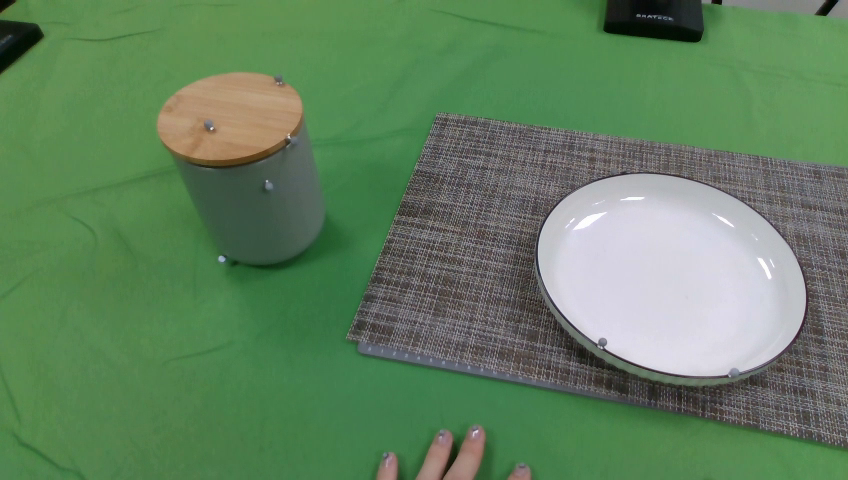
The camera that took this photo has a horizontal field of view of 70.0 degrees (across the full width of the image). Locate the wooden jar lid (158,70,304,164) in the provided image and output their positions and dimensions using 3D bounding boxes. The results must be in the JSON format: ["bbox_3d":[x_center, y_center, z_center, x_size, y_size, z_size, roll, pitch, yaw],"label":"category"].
[{"bbox_3d":[-0.147,-0.093,0.468,0.108,0.021,0.107,2,49,-2],"label":"wooden jar lid"}]

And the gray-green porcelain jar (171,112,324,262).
[{"bbox_3d":[-0.144,-0.051,0.518,0.106,0.127,0.105,-1,50,1],"label":"gray-green porcelain jar"}]

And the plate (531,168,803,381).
[{"bbox_3d":[0.191,0.025,0.496,0.208,0.039,0.205,-1,50,1],"label":"plate"}]
